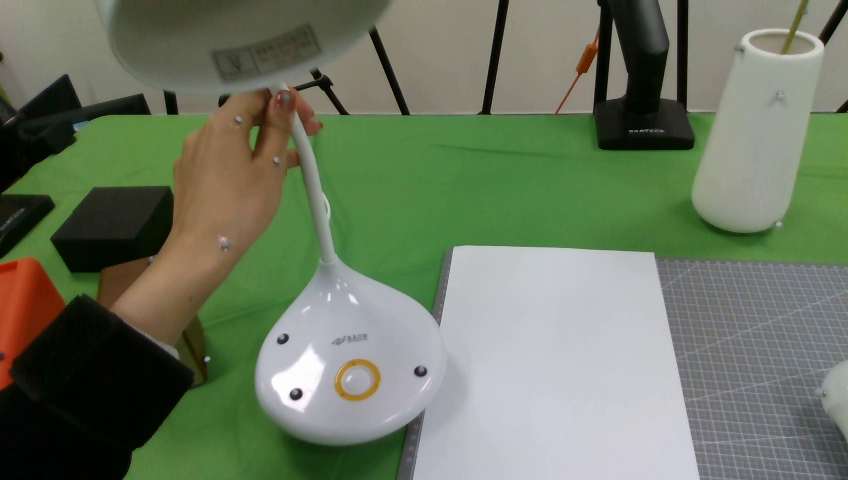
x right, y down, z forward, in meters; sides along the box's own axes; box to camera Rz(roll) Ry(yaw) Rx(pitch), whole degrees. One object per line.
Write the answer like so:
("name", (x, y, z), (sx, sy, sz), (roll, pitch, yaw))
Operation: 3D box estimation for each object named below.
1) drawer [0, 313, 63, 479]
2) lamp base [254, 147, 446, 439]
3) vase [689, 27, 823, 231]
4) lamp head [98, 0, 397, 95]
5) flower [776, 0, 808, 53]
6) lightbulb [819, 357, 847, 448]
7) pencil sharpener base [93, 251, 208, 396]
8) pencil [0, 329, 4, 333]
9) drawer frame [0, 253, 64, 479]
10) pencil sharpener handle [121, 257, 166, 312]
("drawer", (-0.436, 0.130, 0.520), (0.195, 0.074, 0.209), (-16, 39, -11))
("lamp base", (-0.072, 0.031, 0.471), (0.161, 0.182, 0.177), (-18, 38, -15))
("vase", (0.335, -0.107, 0.618), (0.098, 0.202, 0.097), (-4, 38, 4))
("lamp head", (-0.078, -0.132, 0.232), (0.112, 0.113, 0.122), (-21, 78, -18))
("flower", (0.319, -0.157, 0.551), (0.038, 0.365, 0.043), (-37, 61, -14))
("lightbulb", (0.324, 0.135, 0.439), (0.059, 0.060, 0.107), (5, 56, 14))
("pencil sharpener base", (-0.241, 0.074, 0.541), (0.061, 0.108, 0.076), (-16, 40, -12))
("pencil", (-0.426, 0.150, 0.498), (0.012, 0.012, 0.193), (17, 57, 26))
("drawer frame", (-0.439, 0.127, 0.520), (0.202, 0.083, 0.211), (-17, 40, -12))
("pencil sharpener handle", (-0.260, 0.036, 0.571), (0.036, 0.068, 0.030), (-11, 39, -16))
